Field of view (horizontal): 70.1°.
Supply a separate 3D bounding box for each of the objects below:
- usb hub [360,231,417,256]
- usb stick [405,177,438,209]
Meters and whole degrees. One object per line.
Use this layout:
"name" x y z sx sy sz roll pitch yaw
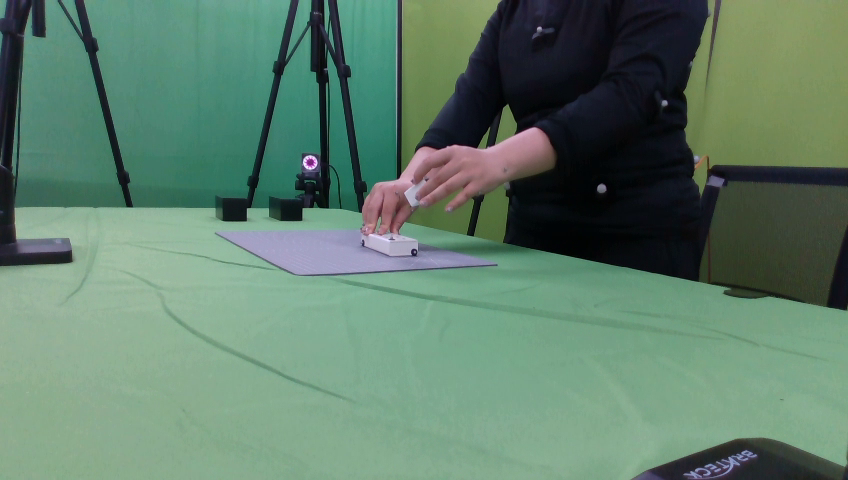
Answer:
"usb hub" -0.059 0.005 0.951 0.050 0.025 0.124 -2 8 -26
"usb stick" -0.009 -0.068 0.904 0.059 0.027 0.021 -37 -8 37
